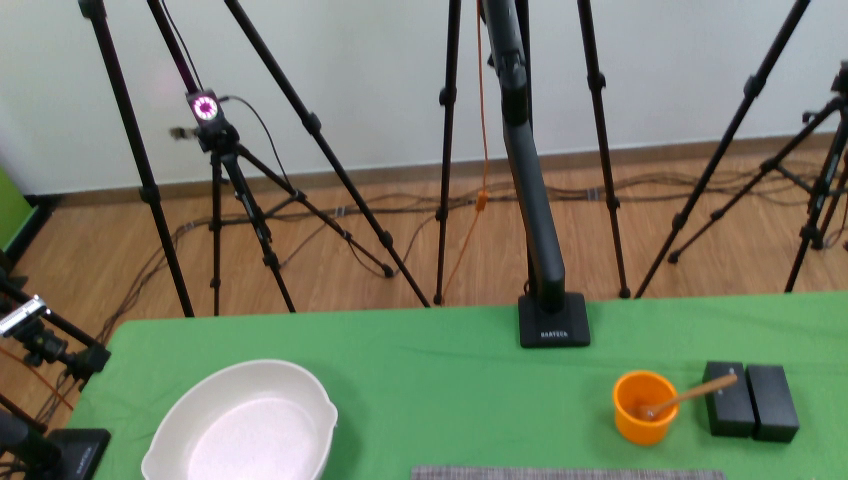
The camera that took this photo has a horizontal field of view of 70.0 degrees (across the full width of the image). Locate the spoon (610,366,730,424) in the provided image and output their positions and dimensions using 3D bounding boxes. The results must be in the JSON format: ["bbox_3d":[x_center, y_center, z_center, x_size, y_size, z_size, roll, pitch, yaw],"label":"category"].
[{"bbox_3d":[0.350,0.222,0.874,0.022,0.194,0.041,28,44,-23],"label":"spoon"}]

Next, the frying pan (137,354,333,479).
[{"bbox_3d":[-0.269,0.377,0.873,0.307,0.104,0.482,-14,36,-2],"label":"frying pan"}]

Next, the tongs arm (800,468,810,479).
[{"bbox_3d":[0.510,0.454,0.699,0.028,0.028,0.384,-2,46,7],"label":"tongs arm"}]
